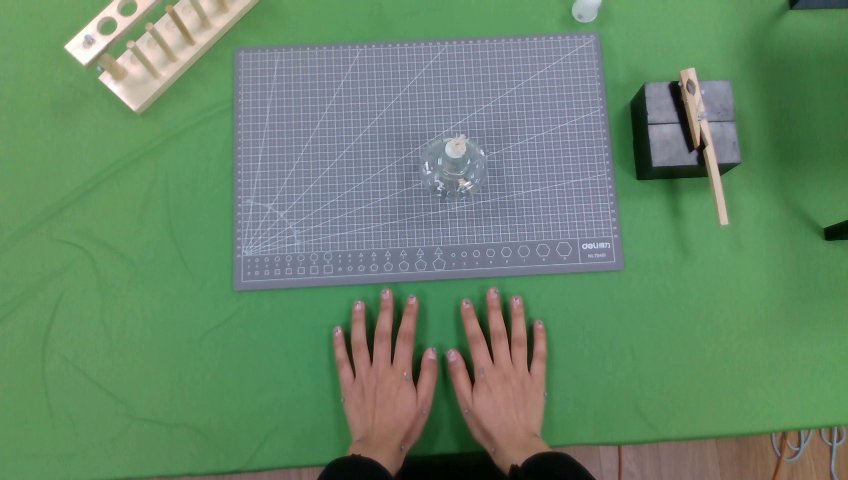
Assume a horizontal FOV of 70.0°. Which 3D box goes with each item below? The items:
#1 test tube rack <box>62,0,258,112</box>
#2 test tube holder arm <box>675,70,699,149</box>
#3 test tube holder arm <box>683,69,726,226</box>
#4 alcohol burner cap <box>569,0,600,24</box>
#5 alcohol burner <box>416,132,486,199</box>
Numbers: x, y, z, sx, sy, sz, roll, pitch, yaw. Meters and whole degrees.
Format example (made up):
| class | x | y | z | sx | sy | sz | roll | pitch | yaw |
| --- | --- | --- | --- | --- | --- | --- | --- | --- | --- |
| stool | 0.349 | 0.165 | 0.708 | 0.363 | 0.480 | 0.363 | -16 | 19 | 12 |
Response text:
| class | x | y | z | sx | sy | sz | roll | pitch | yaw |
| --- | --- | --- | --- | --- | --- | --- | --- | --- | --- |
| test tube rack | -0.288 | -0.270 | 0.710 | 0.066 | 0.085 | 0.242 | 42 | 82 | 7 |
| test tube holder arm | 0.296 | -0.146 | 0.678 | 0.010 | 0.015 | 0.087 | -12 | 84 | 14 |
| test tube holder arm | 0.310 | -0.103 | 0.672 | 0.013 | 0.015 | 0.178 | -14 | 84 | 13 |
| alcohol burner cap | 0.199 | -0.291 | 0.743 | 0.034 | 0.048 | 0.033 | 0 | 79 | 0 |
| alcohol burner | 0.031 | -0.087 | 0.664 | 0.078 | 0.119 | 0.077 | 0 | 78 | -1 |
